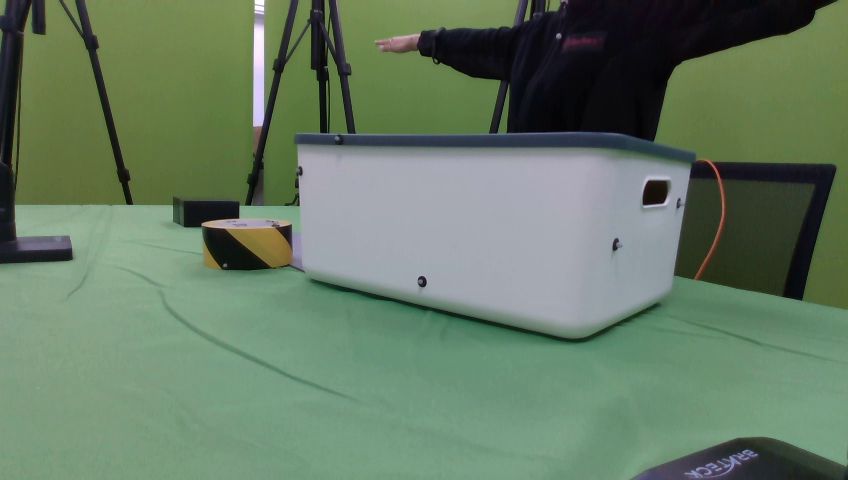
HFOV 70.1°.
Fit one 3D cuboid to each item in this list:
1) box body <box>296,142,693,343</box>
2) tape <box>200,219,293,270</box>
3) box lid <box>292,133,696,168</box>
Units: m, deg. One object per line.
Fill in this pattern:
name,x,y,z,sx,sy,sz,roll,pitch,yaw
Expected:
box body,0.065,-0.020,0.653,0.362,0.160,0.255,9,9,37
tape,-0.228,0.003,0.778,0.117,0.052,0.117,1,8,0
box lid,0.068,-0.094,0.645,0.369,0.015,0.265,9,8,37
